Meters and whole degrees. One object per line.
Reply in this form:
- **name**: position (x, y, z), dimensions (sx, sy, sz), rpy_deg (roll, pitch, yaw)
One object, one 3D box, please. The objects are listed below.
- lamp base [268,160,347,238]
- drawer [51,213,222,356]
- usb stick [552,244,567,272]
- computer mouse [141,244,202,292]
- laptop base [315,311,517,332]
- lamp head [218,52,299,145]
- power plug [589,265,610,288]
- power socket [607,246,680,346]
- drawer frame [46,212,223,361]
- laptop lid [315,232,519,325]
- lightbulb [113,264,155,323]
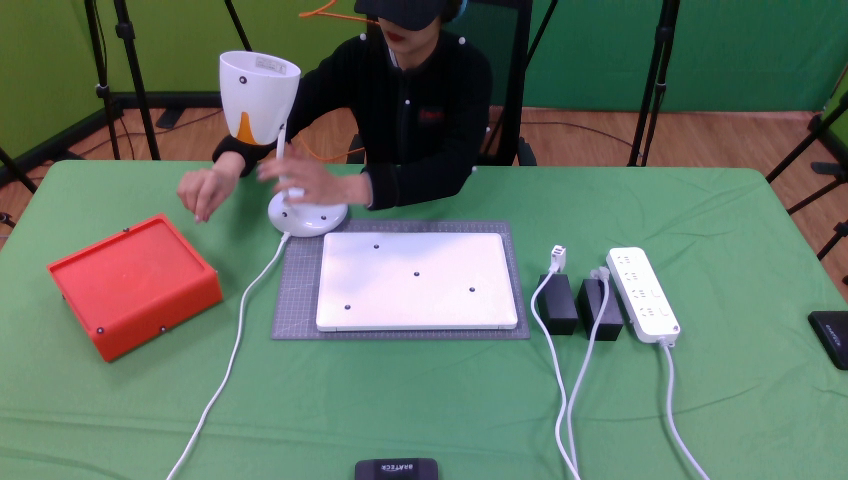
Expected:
- **lamp base**: position (-0.239, -0.110, 1.175), dimensions (0.160, 0.181, 0.178), rpy_deg (12, 49, 10)
- **drawer**: position (-0.495, 0.071, 1.052), dimensions (0.212, 0.073, 0.193), rpy_deg (-32, 57, -29)
- **usb stick**: position (0.251, 0.039, 1.124), dimensions (0.021, 0.059, 0.027), rpy_deg (14, 48, 25)
- **computer mouse**: position (-0.460, 0.044, 1.099), dimensions (0.116, 0.041, 0.063), rpy_deg (30, 52, 29)
- **laptop base**: position (-0.016, 0.075, 1.125), dimensions (0.355, 0.023, 0.234), rpy_deg (0, 43, -4)
- **lamp head**: position (-0.246, -0.205, 0.890), dimensions (0.112, 0.123, 0.112), rpy_deg (11, 33, -7)
- **power plug**: position (0.318, 0.073, 1.108), dimensions (0.035, 0.053, 0.072), rpy_deg (26, 34, 13)
- **power socket**: position (0.403, 0.096, 1.123), dimensions (0.072, 0.033, 0.225), rpy_deg (-2, 46, -5)
- **drawer frame**: position (-0.495, 0.072, 1.049), dimensions (0.213, 0.083, 0.200), rpy_deg (-33, 56, -29)
- **laptop lid**: position (-0.015, 0.065, 1.118), dimensions (0.357, 0.013, 0.240), rpy_deg (1, 43, -3)
- **lightbulb**: position (-0.493, 0.090, 1.044), dimensions (0.059, 0.060, 0.107), rpy_deg (9, 62, 5)
